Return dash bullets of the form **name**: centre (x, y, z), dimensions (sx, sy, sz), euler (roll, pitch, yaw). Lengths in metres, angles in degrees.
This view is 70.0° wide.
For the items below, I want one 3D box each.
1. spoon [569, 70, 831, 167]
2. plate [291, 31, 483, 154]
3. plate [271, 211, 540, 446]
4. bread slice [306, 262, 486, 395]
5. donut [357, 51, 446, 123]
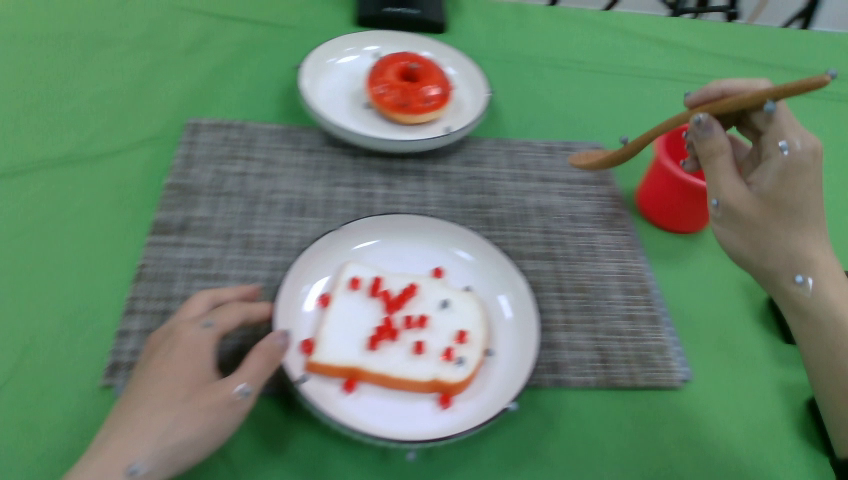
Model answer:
- **spoon**: centre (0.167, -0.076, 0.402), dimensions (0.042, 0.193, 0.021), euler (-18, 88, -28)
- **plate**: centre (-0.040, -0.160, 0.668), dimensions (0.208, 0.039, 0.205), euler (5, 48, -5)
- **plate**: centre (-0.014, 0.064, 0.480), dimensions (0.209, 0.038, 0.207), euler (5, 50, -5)
- **bread slice**: centre (-0.016, 0.068, 0.480), dimensions (0.131, 0.019, 0.104), euler (10, 50, 2)
- **donut**: centre (-0.024, -0.167, 0.661), dimensions (0.099, 0.048, 0.098), euler (6, 50, -6)
